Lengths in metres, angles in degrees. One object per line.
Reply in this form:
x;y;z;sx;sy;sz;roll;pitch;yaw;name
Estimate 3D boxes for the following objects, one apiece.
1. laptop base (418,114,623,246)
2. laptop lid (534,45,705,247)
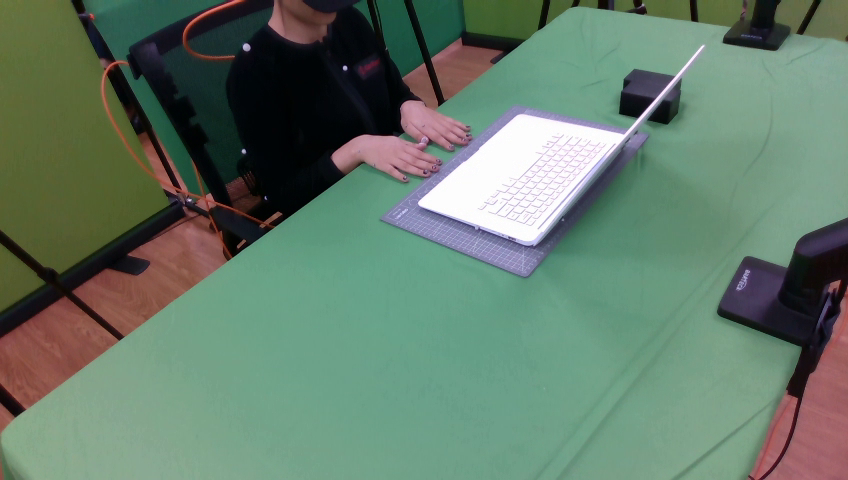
0.183;-0.122;1.094;0.233;0.023;0.355;19;47;34;laptop base
0.305;-0.146;0.938;0.013;0.241;0.357;40;54;9;laptop lid
